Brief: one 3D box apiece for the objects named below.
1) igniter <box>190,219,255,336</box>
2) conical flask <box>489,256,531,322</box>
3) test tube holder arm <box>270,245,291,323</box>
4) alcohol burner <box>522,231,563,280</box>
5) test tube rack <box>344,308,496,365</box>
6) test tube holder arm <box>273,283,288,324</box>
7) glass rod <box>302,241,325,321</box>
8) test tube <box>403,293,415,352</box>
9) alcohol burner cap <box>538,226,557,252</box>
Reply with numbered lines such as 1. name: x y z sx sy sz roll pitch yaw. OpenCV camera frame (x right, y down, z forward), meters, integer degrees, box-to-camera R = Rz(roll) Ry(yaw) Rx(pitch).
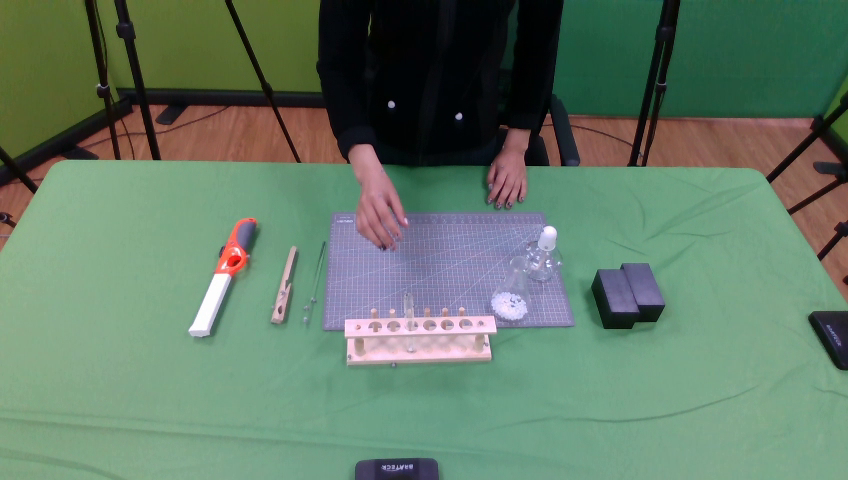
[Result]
1. igniter: -0.365 0.058 1.110 0.057 0.025 0.275 -1 45 8
2. conical flask: 0.158 0.081 1.061 0.075 0.122 0.075 2 46 -2
3. test tube holder arm: -0.260 0.076 1.105 0.013 0.015 0.177 29 38 -29
4. alcohol burner: 0.224 0.020 1.131 0.078 0.119 0.077 4 46 -4
5. test tube rack: -0.009 0.154 1.007 0.242 0.085 0.066 -1 46 -5
6. test tube holder arm: -0.254 0.111 1.077 0.010 0.015 0.087 31 37 -28
7. glass rod: -0.203 0.071 1.124 0.008 0.008 0.198 4 44 1
8. test tube: -0.024 0.133 0.957 0.017 0.151 0.017 0 48 0
9. alcohol burner cap: 0.226 -0.004 1.104 0.034 0.048 0.033 -1 50 1
